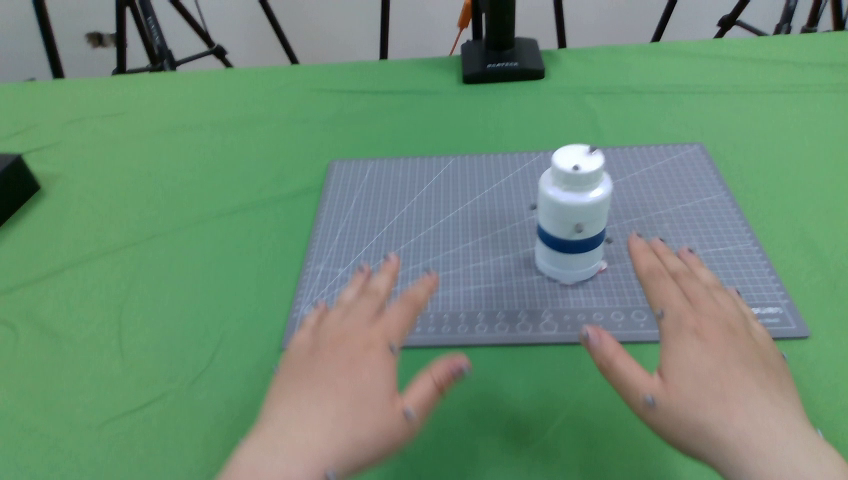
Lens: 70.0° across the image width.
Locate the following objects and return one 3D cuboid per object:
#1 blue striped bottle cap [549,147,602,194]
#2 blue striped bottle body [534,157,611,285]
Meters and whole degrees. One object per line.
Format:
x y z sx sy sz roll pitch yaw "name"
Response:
0.129 -0.060 0.514 0.044 0.021 0.044 -2 41 2 "blue striped bottle cap"
0.133 -0.022 0.548 0.063 0.122 0.062 -3 41 3 "blue striped bottle body"
